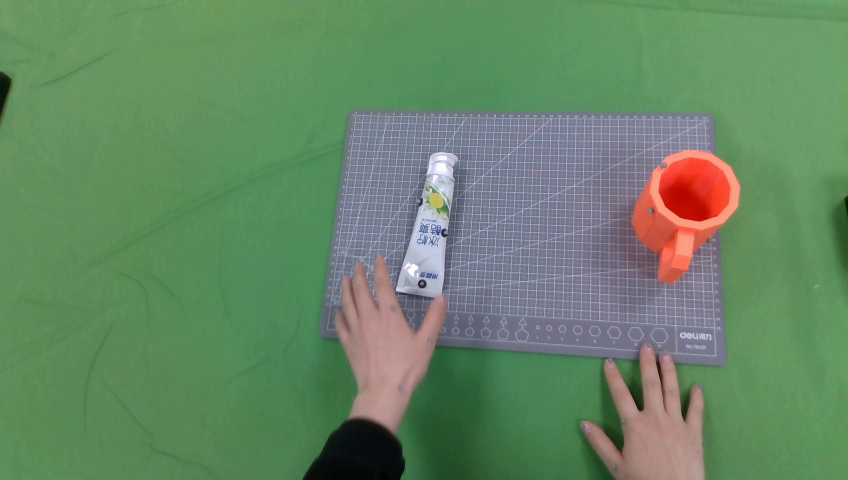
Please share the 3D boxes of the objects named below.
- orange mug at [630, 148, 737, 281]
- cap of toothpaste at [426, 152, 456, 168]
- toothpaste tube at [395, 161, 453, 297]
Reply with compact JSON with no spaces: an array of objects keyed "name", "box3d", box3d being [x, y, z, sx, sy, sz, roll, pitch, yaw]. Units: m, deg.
[{"name":"orange mug","box3d":[0.271,-0.022,0.646,0.083,0.101,0.125,11,70,11]},{"name":"cap of toothpaste","box3d":[0.021,-0.096,0.732,0.037,0.037,0.011,-1,72,7]},{"name":"toothpaste tube","box3d":[0.005,-0.018,0.717,0.055,0.035,0.164,7,78,15]}]
